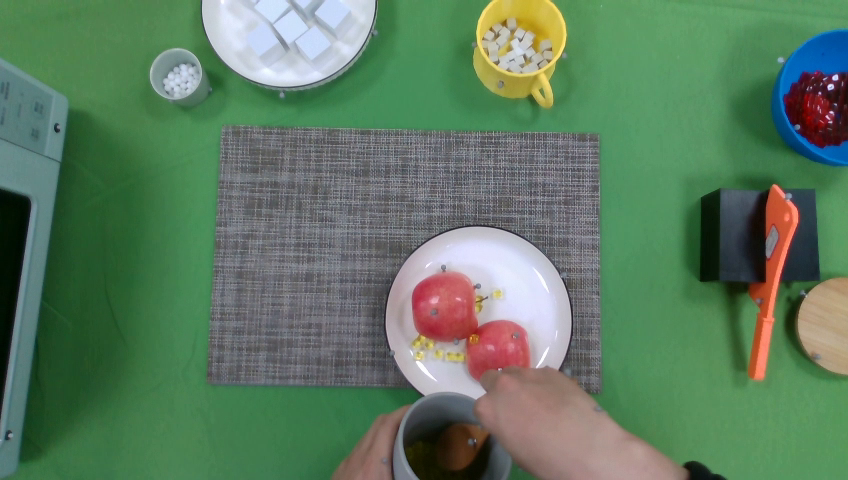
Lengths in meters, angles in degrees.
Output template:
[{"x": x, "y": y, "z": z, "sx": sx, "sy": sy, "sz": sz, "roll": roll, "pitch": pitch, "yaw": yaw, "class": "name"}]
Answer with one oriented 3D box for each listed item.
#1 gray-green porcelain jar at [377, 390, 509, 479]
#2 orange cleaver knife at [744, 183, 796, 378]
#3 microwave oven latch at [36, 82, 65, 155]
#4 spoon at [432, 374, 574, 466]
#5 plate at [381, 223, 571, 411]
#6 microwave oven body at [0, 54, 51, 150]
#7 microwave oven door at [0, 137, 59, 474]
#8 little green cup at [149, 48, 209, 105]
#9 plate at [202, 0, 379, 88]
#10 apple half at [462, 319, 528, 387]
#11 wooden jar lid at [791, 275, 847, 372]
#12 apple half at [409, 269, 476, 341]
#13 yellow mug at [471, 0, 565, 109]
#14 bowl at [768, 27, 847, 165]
[{"x": 0.013, "y": 0.222, "z": 0.579, "sx": 0.106, "sy": 0.127, "sz": 0.105, "roll": 10, "pitch": 43, "yaw": -9, "class": "gray-green porcelain jar"}, {"x": 0.367, "y": 0.046, "z": 0.659, "sx": 0.012, "sy": 0.077, "sz": 0.212, "roll": 3, "pitch": 108, "yaw": 5, "class": "orange cleaver knife"}, {"x": -0.437, "y": -0.140, "z": 0.697, "sx": 0.030, "sy": 0.029, "sz": 0.079, "roll": 8, "pitch": 85, "yaw": 2, "class": "microwave oven latch"}, {"x": 0.065, "y": 0.161, "z": 0.540, "sx": 0.022, "sy": 0.194, "sz": 0.041, "roll": 2, "pitch": 58, "yaw": -34, "class": "spoon"}, {"x": 0.056, "y": 0.086, "z": 0.679, "sx": 0.209, "sy": 0.038, "sz": 0.208, "roll": 0, "pitch": 85, "yaw": 1, "class": "plate"}, {"x": -0.602, "y": 0.012, "z": 0.587, "sx": 0.326, "sy": 0.260, "sz": 0.440, "roll": 5, "pitch": 85, "yaw": 1, "class": "microwave oven body"}, {"x": -0.460, "y": 0.066, "z": 0.574, "sx": 0.039, "sy": 0.244, "sz": 0.355, "roll": 4, "pitch": 84, "yaw": 2, "class": "microwave oven door"}, {"x": -0.286, "y": -0.190, "z": 0.716, "sx": 0.061, "sy": 0.039, "sz": 0.061, "roll": 0, "pitch": 85, "yaw": 0, "class": "little green cup"}, {"x": -0.156, "y": -0.278, "z": 0.725, "sx": 0.207, "sy": 0.039, "sz": 0.207, "roll": 0, "pitch": 84, "yaw": 1, "class": "plate"}, {"x": 0.080, "y": 0.125, "z": 0.668, "sx": 0.081, "sy": 0.033, "sz": 0.081, "roll": 0, "pitch": 81, "yaw": 1, "class": "apple half"}, {"x": 0.467, "y": 0.094, "z": 0.682, "sx": 0.108, "sy": 0.021, "sz": 0.108, "roll": 0, "pitch": 84, "yaw": 3, "class": "wooden jar lid"}, {"x": 0.020, "y": 0.071, "z": 0.666, "sx": 0.074, "sy": 0.053, "sz": 0.080, "roll": -1, "pitch": 85, "yaw": 3, "class": "apple half"}, {"x": 0.113, "y": -0.211, "z": 0.699, "sx": 0.100, "sy": 0.064, "sz": 0.130, "roll": -27, "pitch": 85, "yaw": -2, "class": "yellow mug"}, {"x": 0.451, "y": -0.150, "z": 0.679, "sx": 0.151, "sy": 0.077, "sz": 0.151, "roll": 0, "pitch": 84, "yaw": 2, "class": "bowl"}]
